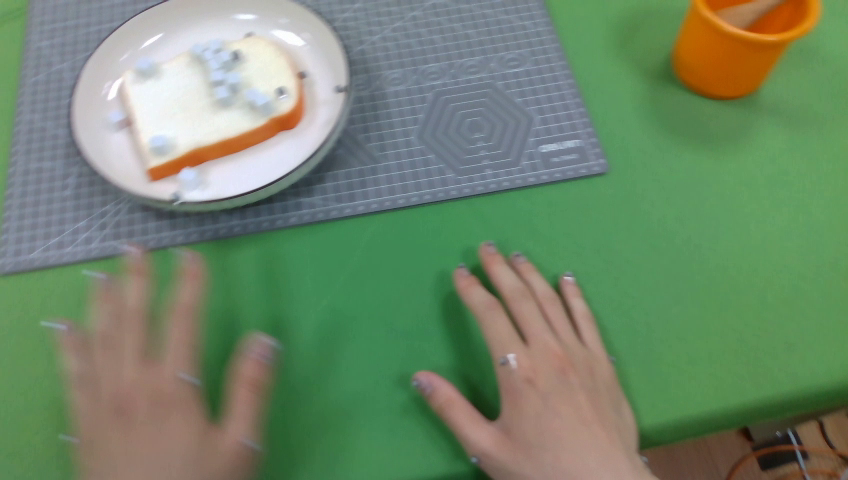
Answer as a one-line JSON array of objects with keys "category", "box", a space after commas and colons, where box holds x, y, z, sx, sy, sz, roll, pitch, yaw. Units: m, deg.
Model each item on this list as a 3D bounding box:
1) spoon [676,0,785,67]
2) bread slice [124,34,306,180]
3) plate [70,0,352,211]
[{"category": "spoon", "box": [0.274, -0.188, 0.437, 0.193, 0.022, 0.041, -28, 56, 33]}, {"category": "bread slice", "box": [-0.161, -0.113, 0.471, 0.131, 0.019, 0.104, -24, 67, -9]}, {"category": "plate", "box": [-0.158, -0.109, 0.466, 0.209, 0.038, 0.207, 0, 64, 0]}]
